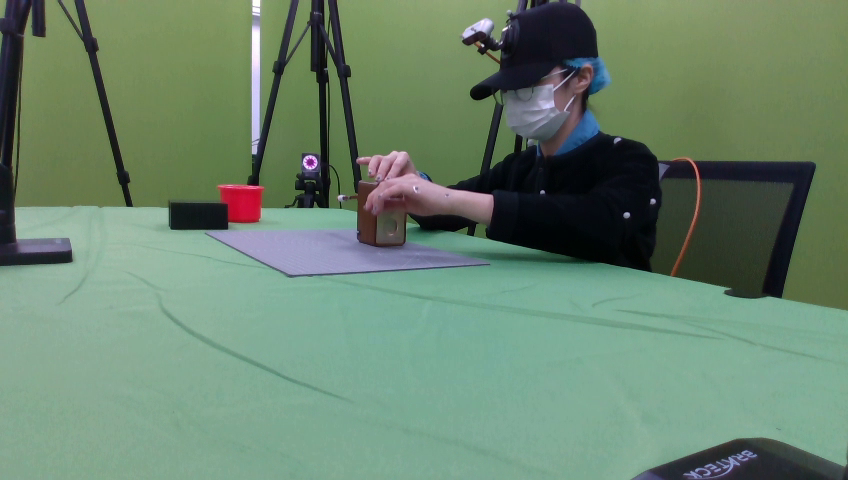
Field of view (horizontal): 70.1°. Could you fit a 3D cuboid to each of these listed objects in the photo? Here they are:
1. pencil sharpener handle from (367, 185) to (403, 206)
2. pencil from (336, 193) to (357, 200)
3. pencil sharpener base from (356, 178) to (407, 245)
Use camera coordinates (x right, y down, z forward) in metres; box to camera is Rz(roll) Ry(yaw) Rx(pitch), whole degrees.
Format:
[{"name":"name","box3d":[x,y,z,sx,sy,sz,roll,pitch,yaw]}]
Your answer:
[{"name":"pencil sharpener handle","box3d":[-0.056,-0.067,0.964,0.068,0.036,0.030,-13,14,-31]},{"name":"pencil","box3d":[-0.121,-0.082,1.101,0.012,0.012,0.193,-2,3,-30]},{"name":"pencil sharpener base","box3d":[-0.071,-0.049,1.018,0.062,0.107,0.076,-2,9,-32]}]
